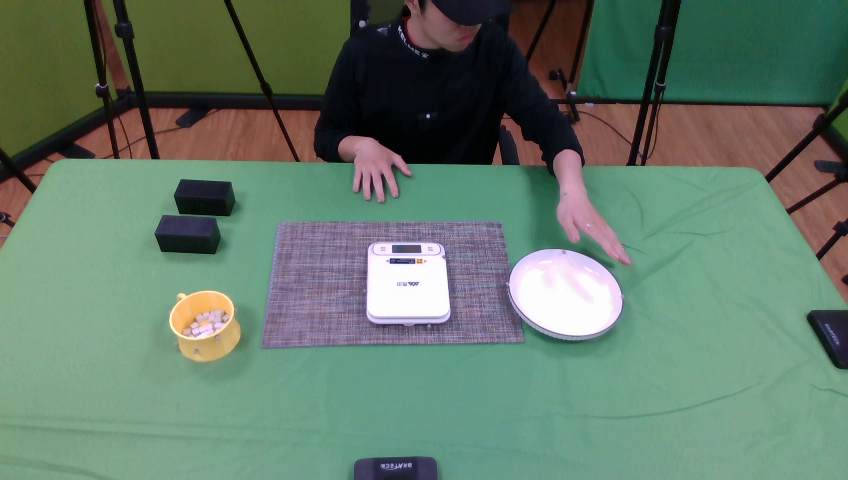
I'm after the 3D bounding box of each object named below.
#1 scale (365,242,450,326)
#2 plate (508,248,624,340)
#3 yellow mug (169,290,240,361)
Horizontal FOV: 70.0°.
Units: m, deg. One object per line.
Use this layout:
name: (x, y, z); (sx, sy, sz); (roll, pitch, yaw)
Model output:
scale: (-0.032, 0.071, 1.113); (0.149, 0.032, 0.199); (0, 46, -4)
plate: (0.256, 0.101, 1.106); (0.209, 0.038, 0.208); (2, 45, -2)
yellow mug: (-0.373, 0.132, 1.009); (0.130, 0.064, 0.100); (35, 53, 27)
